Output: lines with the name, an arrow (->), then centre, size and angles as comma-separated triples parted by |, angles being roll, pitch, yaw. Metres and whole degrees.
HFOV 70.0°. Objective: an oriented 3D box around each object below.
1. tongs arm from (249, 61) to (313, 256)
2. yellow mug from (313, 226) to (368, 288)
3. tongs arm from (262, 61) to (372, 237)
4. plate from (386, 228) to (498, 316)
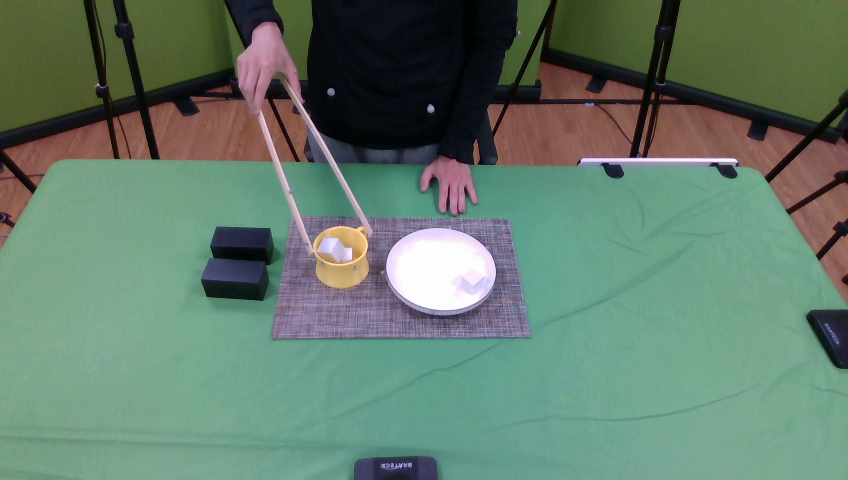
tongs arm -> -0.249, -0.152, 1.084 | 0.051, 0.026, 0.383 | -18, 76, -24
yellow mug -> -0.146, 0.021, 1.132 | 0.099, 0.064, 0.130 | 24, 49, 19
tongs arm -> -0.195, -0.171, 1.113 | 0.028, 0.028, 0.386 | -27, 80, -23
plate -> 0.032, 0.062, 1.126 | 0.208, 0.039, 0.206 | 2, 46, -2
